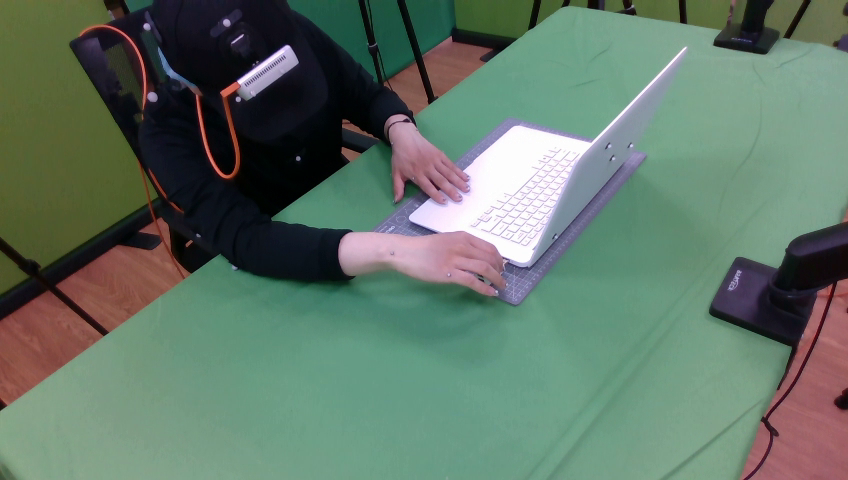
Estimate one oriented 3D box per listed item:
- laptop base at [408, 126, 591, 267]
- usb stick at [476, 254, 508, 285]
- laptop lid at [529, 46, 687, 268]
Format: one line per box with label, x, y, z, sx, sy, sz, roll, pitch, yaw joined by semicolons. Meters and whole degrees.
laptop base;0.168;-0.091;1.053;0.233;0.023;0.355;20;47;33
usb stick;0.102;0.040;0.883;0.021;0.027;0.059;19;38;36
laptop lid;0.277;-0.126;0.903;0.013;0.242;0.358;35;53;17
